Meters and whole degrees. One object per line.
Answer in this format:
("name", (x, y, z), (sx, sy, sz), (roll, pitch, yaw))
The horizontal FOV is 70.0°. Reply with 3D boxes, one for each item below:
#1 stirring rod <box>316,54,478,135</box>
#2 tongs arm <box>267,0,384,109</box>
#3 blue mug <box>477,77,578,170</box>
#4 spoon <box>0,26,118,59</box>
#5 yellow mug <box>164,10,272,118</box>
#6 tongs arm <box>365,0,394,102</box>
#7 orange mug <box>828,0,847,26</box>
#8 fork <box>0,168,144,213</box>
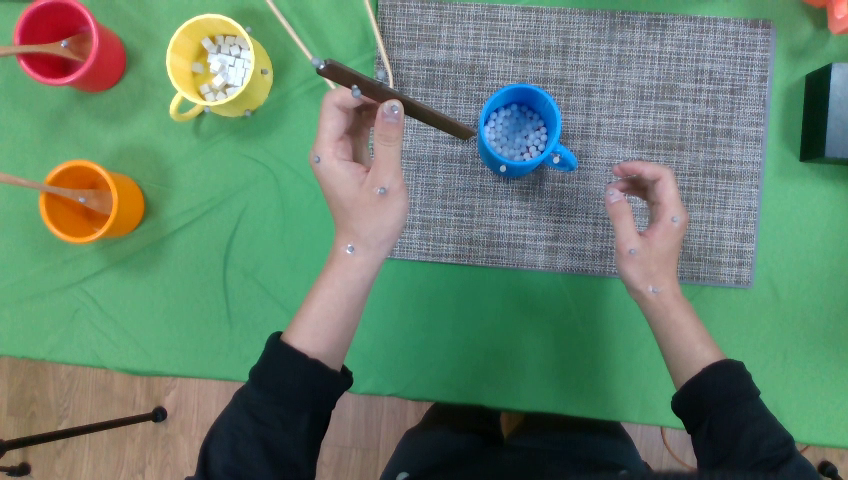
("stirring rod", (-0.011, -0.099, 0.433), (0.014, 0.177, 0.006), (-31, 68, 29))
("tongs arm", (-0.175, -0.305, 0.679), (0.051, 0.026, 0.385), (-34, 97, 0))
("blue mug", (0.113, -0.113, 0.651), (0.116, 0.106, 0.082), (30, 93, 2))
("spoon", (-0.439, -0.211, 0.663), (0.194, 0.021, 0.041), (-21, 89, -40))
("yellow mug", (-0.243, -0.190, 0.692), (0.100, 0.064, 0.131), (43, 95, 1))
("tongs arm", (-0.101, -0.345, 0.676), (0.028, 0.027, 0.388), (-21, 97, -5))
("orange mug", (0.451, -0.296, 0.633), (0.083, 0.101, 0.126), (-5, 87, 4))
("fork", (-0.417, -0.062, 0.663), (0.209, 0.018, 0.028), (15, 91, -41))
